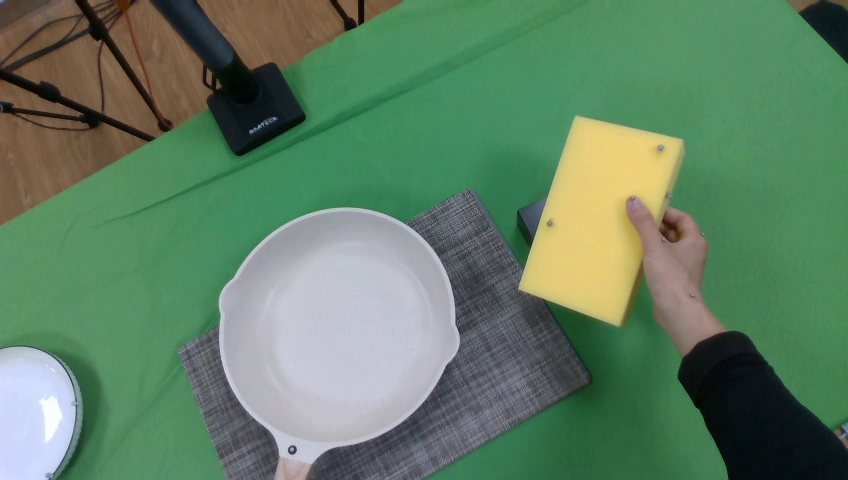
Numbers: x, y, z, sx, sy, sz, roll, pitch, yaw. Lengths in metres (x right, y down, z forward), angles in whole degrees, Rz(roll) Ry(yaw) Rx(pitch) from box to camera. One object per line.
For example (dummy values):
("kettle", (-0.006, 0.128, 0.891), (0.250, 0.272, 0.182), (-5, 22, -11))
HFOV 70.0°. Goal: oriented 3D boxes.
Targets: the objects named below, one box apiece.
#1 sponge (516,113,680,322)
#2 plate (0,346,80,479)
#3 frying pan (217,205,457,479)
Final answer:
("sponge", (0.194, -0.025, 0.680), (0.117, 0.061, 0.207), (18, 92, 24))
("plate", (-0.543, 0.245, 0.792), (0.207, 0.039, 0.206), (-2, 72, 6))
("frying pan", (-0.133, 0.193, 0.717), (0.306, 0.103, 0.485), (11, 66, 12))
